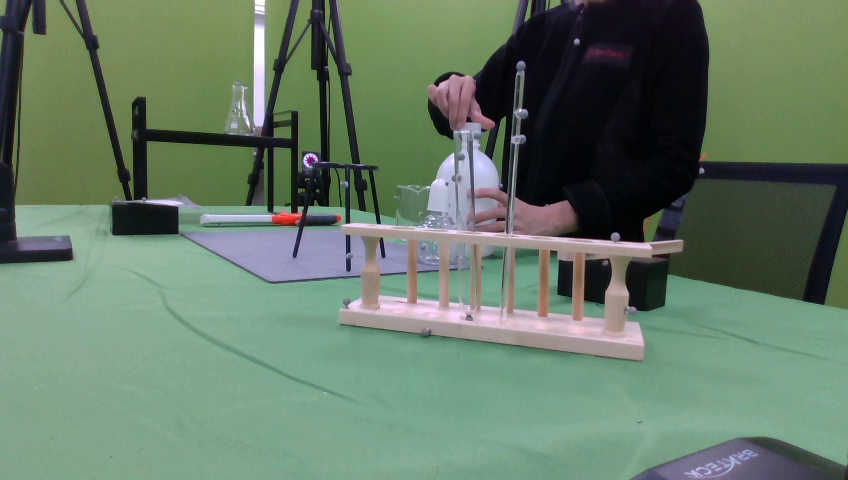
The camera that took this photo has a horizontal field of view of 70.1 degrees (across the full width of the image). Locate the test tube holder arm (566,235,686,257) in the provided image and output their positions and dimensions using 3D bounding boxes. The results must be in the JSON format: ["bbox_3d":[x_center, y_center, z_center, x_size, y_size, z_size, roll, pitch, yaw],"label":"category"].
[{"bbox_3d":[0.215,0.006,0.630,0.179,0.015,0.013,-3,8,-31],"label":"test tube holder arm"}]

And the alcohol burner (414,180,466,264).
[{"bbox_3d":[0.021,-0.028,0.826,0.078,0.119,0.078,0,6,0],"label":"alcohol burner"}]

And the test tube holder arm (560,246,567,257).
[{"bbox_3d":[0.173,0.008,0.612,0.088,0.015,0.010,-3,8,-30],"label":"test tube holder arm"}]

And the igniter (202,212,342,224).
[{"bbox_3d":[-0.298,-0.044,1.216,0.278,0.025,0.057,-2,-2,-32],"label":"igniter"}]

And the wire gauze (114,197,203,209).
[{"bbox_3d":[-0.447,-0.062,1.015,0.126,0.011,0.121,-2,8,-31],"label":"wire gauze"}]

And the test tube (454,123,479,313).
[{"bbox_3d":[0.034,-0.016,0.477,0.017,0.150,0.017,-2,9,1],"label":"test tube"}]

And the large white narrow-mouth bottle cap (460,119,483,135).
[{"bbox_3d":[0.073,-0.172,0.923,0.038,0.024,0.037,2,8,0],"label":"large white narrow-mouth bottle cap"}]

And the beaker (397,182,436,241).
[{"bbox_3d":[-0.012,-0.050,1.072,0.074,0.100,0.084,1,8,-4],"label":"beaker"}]

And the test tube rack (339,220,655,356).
[{"bbox_3d":[0.056,0.032,0.495,0.242,0.085,0.067,4,7,15],"label":"test tube rack"}]

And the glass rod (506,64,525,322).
[{"bbox_3d":[0.069,-0.030,0.458,0.008,0.199,0.008,0,15,0],"label":"glass rod"}]

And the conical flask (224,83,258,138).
[{"bbox_3d":[-0.422,-0.299,1.395,0.075,0.122,0.075,2,7,0],"label":"conical flask"}]

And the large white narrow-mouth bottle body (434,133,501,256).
[{"bbox_3d":[0.069,-0.078,0.937,0.102,0.194,0.102,2,8,0],"label":"large white narrow-mouth bottle body"}]

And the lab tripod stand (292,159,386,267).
[{"bbox_3d":[-0.105,-0.039,0.798,0.148,0.131,0.148,2,5,0],"label":"lab tripod stand"}]

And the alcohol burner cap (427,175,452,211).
[{"bbox_3d":[0.023,-0.064,0.822,0.034,0.048,0.034,7,4,0],"label":"alcohol burner cap"}]
